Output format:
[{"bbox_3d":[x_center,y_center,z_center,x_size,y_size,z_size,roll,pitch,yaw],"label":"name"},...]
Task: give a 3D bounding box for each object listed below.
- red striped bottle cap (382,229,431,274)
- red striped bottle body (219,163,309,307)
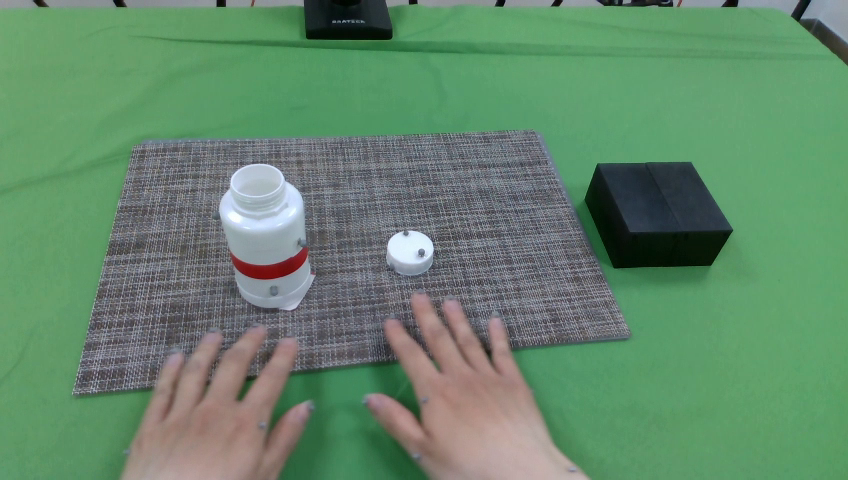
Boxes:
[{"bbox_3d":[-0.016,0.010,0.563,0.044,0.018,0.044,8,44,-7],"label":"red striped bottle cap"},{"bbox_3d":[-0.129,-0.005,0.493,0.063,0.120,0.062,3,47,-3],"label":"red striped bottle body"}]
